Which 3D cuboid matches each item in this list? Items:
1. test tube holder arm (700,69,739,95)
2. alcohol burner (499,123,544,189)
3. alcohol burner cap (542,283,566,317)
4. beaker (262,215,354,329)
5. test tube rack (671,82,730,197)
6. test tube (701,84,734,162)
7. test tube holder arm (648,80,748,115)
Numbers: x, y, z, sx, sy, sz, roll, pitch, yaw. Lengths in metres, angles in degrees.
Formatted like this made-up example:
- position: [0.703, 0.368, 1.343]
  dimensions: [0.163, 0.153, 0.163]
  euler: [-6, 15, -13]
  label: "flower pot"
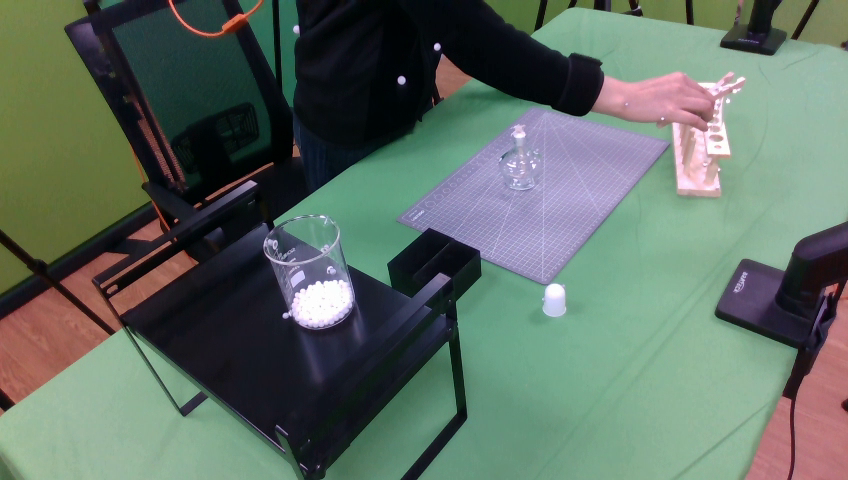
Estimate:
- position: [0.452, -0.239, 0.932]
  dimensions: [0.088, 0.015, 0.010]
  euler: [-34, 73, -20]
  label: "test tube holder arm"
- position: [0.169, -0.149, 1.048]
  dimensions: [0.078, 0.119, 0.077]
  euler: [-6, 41, 5]
  label: "alcohol burner"
- position: [0.181, 0.081, 0.839]
  dimensions: [0.034, 0.048, 0.033]
  euler: [-4, 41, 4]
  label: "alcohol burner cap"
- position: [-0.112, 0.034, 0.616]
  dimensions: [0.073, 0.101, 0.084]
  euler: [13, 44, 23]
  label: "beaker"
- position: [0.482, -0.184, 1.067]
  dimensions: [0.066, 0.085, 0.242]
  euler: [6, 42, 14]
  label: "test tube rack"
- position: [0.482, -0.189, 0.996]
  dimensions: [0.017, 0.151, 0.017]
  euler: [-2, 46, 3]
  label: "test tube"
- position: [0.416, -0.217, 0.917]
  dimensions: [0.179, 0.015, 0.013]
  euler: [-19, 68, -15]
  label: "test tube holder arm"
